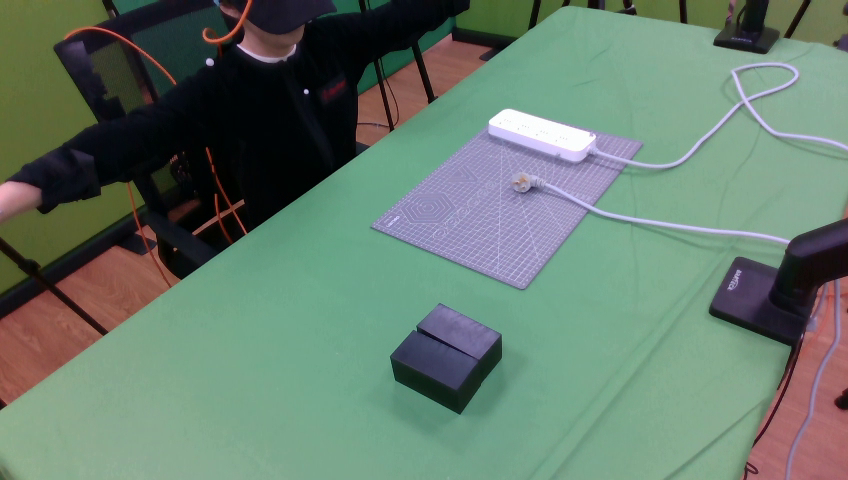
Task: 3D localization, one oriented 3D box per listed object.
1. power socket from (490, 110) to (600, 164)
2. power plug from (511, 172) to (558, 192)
[{"bbox_3d":[0.227,-0.201,1.166,0.225,0.033,0.072,26,52,33],"label":"power socket"},{"bbox_3d":[0.188,-0.100,1.044,0.072,0.035,0.053,3,21,41],"label":"power plug"}]
